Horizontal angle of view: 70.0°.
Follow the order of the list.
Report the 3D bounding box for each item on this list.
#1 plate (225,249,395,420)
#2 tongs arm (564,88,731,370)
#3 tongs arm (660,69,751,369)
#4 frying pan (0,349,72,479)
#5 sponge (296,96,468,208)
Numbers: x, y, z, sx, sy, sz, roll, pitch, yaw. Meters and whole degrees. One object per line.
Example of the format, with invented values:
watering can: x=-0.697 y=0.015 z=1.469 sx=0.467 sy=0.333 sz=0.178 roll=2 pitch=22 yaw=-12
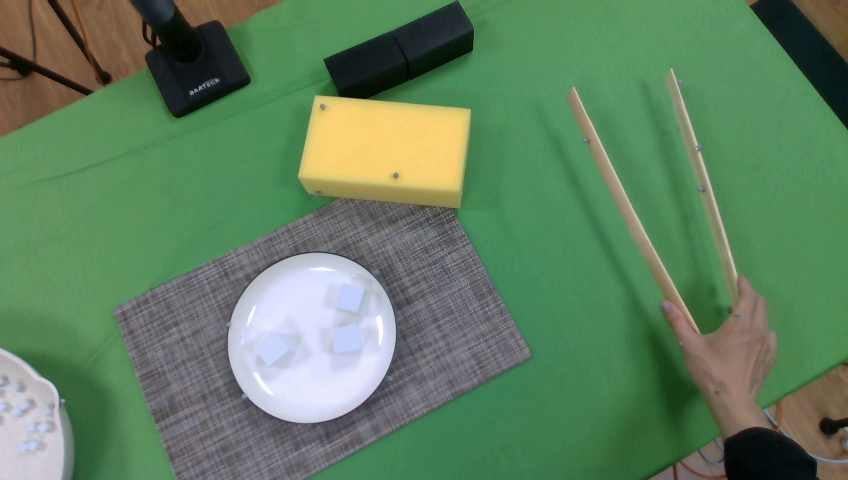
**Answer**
plate: x=-0.137 y=0.115 z=0.746 sx=0.207 sy=0.039 sz=0.206 roll=0 pitch=75 yaw=2
tongs arm: x=0.260 y=-0.020 z=0.735 sx=0.028 sy=0.028 sz=0.385 roll=-19 pitch=76 yaw=-16
tongs arm: x=0.333 y=-0.036 z=0.748 sx=0.051 sy=0.026 sz=0.382 roll=-9 pitch=74 yaw=-10
frying pan: x=-0.490 y=0.342 z=0.667 sx=0.307 sy=0.103 sz=0.484 roll=-35 pitch=68 yaw=-6
sponge: x=-0.050 y=-0.115 z=0.794 sx=0.207 sy=0.061 sz=0.117 roll=5 pitch=73 yaw=5
